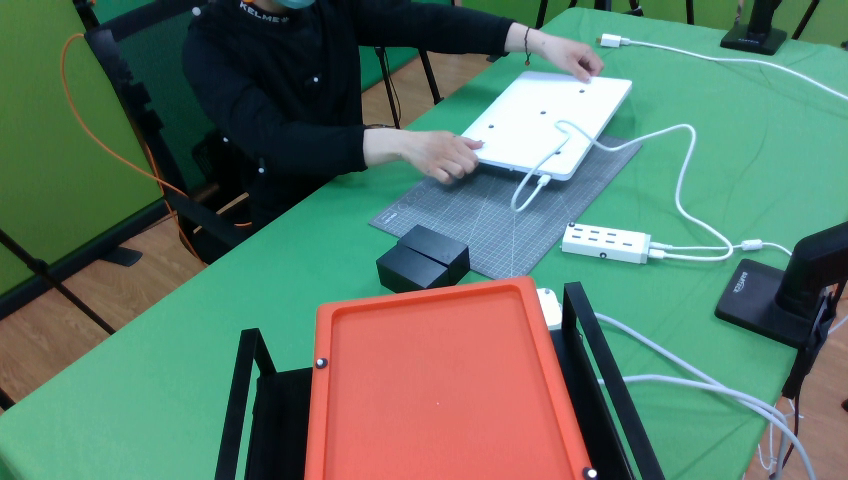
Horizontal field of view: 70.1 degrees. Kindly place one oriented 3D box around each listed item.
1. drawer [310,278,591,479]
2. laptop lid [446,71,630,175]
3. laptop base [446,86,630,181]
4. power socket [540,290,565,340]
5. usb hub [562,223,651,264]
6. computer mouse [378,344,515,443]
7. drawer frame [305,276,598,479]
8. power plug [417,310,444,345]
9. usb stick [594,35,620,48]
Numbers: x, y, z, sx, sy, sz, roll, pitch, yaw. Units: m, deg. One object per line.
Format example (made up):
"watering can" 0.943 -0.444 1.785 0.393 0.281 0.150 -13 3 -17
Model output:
"drawer" 0.013 0.137 0.489 0.195 0.073 0.210 -7 41 0
"laptop lid" 0.222 -0.235 1.141 0.240 0.013 0.357 17 45 29
"laptop base" 0.226 -0.225 1.148 0.234 0.023 0.355 14 44 29
"power socket" 0.081 0.112 0.822 0.227 0.033 0.072 -7 41 0
"usb hub" 0.279 0.004 0.926 0.124 0.025 0.049 10 43 19
"computer mouse" 0.018 0.126 0.521 0.116 0.041 0.063 13 47 30
"drawer frame" 0.014 0.137 0.486 0.202 0.083 0.212 -8 41 -1
"power plug" 0.007 0.122 0.785 0.035 0.053 0.072 1 39 7
"usb stick" 0.443 -0.482 1.466 0.059 0.021 0.027 10 43 10
